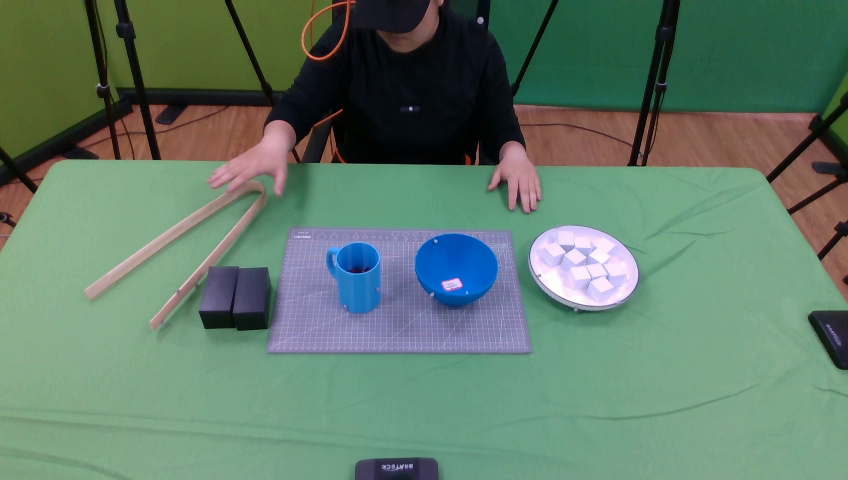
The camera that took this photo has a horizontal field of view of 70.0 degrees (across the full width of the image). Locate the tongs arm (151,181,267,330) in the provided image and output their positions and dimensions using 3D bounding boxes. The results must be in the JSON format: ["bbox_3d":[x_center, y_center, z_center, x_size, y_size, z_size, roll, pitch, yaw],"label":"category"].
[{"bbox_3d":[-0.400,0.014,1.145,0.050,0.027,0.383,14,46,18],"label":"tongs arm"}]

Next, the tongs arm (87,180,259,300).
[{"bbox_3d":[-0.473,-0.011,1.172,0.028,0.028,0.387,22,49,30],"label":"tongs arm"}]

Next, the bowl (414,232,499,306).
[{"bbox_3d":[0.056,0.066,1.095,0.151,0.077,0.150,2,46,-2],"label":"bowl"}]

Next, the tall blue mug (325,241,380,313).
[{"bbox_3d":[-0.130,0.063,1.062,0.107,0.108,0.077,9,47,5],"label":"tall blue mug"}]

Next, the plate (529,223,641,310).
[{"bbox_3d":[0.303,0.053,1.156,0.209,0.038,0.208,2,46,-2],"label":"plate"}]
